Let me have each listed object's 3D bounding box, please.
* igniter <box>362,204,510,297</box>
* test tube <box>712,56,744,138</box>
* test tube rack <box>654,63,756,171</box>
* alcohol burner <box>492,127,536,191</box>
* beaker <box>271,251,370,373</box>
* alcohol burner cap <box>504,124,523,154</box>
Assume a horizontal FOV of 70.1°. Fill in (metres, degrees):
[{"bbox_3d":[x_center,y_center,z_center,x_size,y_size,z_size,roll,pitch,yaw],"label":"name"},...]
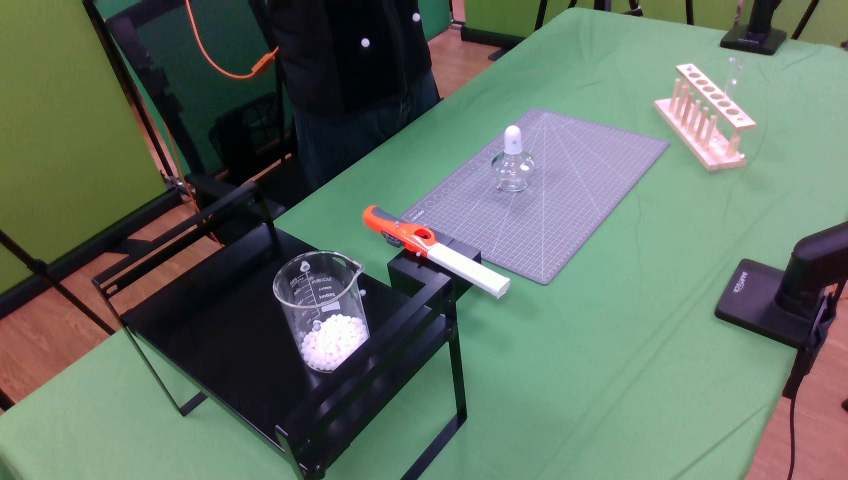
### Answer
[{"bbox_3d":[0.007,0.009,0.887,0.274,0.025,0.057,29,50,32],"label":"igniter"},{"bbox_3d":[0.530,-0.246,1.056,0.017,0.151,0.017,-1,39,1],"label":"test tube"},{"bbox_3d":[0.510,-0.233,1.120,0.067,0.085,0.241,-8,41,-1],"label":"test tube rack"},{"bbox_3d":[0.156,-0.146,1.046,0.078,0.119,0.077,-4,43,4],"label":"alcohol burner"},{"bbox_3d":[-0.090,0.069,0.571,0.084,0.101,0.073,-19,42,-13],"label":"beaker"},{"bbox_3d":[0.151,-0.173,1.022,0.034,0.048,0.033,-4,36,3],"label":"alcohol burner cap"}]
